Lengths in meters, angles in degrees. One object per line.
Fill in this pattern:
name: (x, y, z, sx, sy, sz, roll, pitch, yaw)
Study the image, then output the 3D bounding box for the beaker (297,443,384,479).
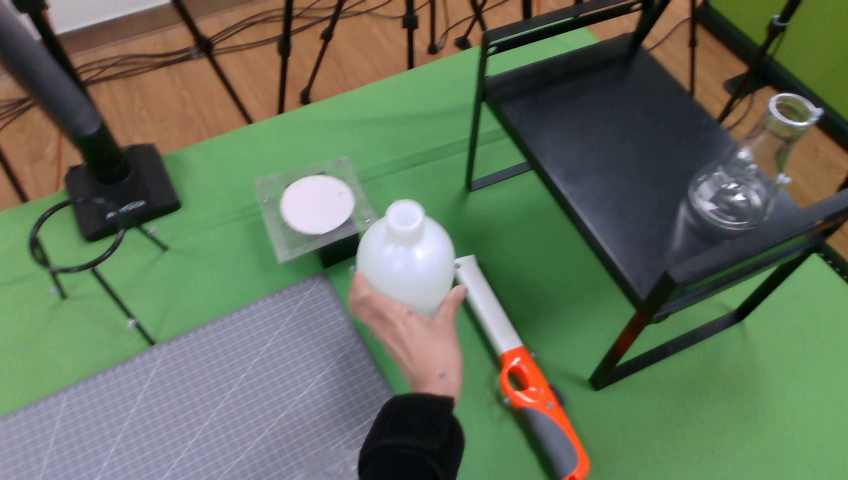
beaker: (-0.074, 0.234, 0.539, 0.084, 0.101, 0.073, -23, 61, -15)

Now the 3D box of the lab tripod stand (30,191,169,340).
lab tripod stand: (-0.336, 0.024, 0.644, 0.148, 0.132, 0.147, 2, 58, -3)

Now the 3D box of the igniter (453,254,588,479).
igniter: (0.098, 0.129, 0.659, 0.057, 0.025, 0.273, -14, 58, -23)

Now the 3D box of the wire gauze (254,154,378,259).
wire gauze: (-0.127, -0.046, 0.713, 0.121, 0.011, 0.124, -18, 60, -13)

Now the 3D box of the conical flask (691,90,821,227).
conical flask: (0.288, -0.072, 0.524, 0.075, 0.123, 0.074, 1, 57, -1)

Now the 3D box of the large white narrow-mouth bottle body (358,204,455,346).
large white narrow-mouth bottle body: (-0.018, 0.028, 0.619, 0.102, 0.196, 0.101, 1, 57, -1)

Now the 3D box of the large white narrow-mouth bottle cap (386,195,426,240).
large white narrow-mouth bottle cap: (-0.017, -0.020, 0.547, 0.038, 0.024, 0.037, 1, 57, -1)
